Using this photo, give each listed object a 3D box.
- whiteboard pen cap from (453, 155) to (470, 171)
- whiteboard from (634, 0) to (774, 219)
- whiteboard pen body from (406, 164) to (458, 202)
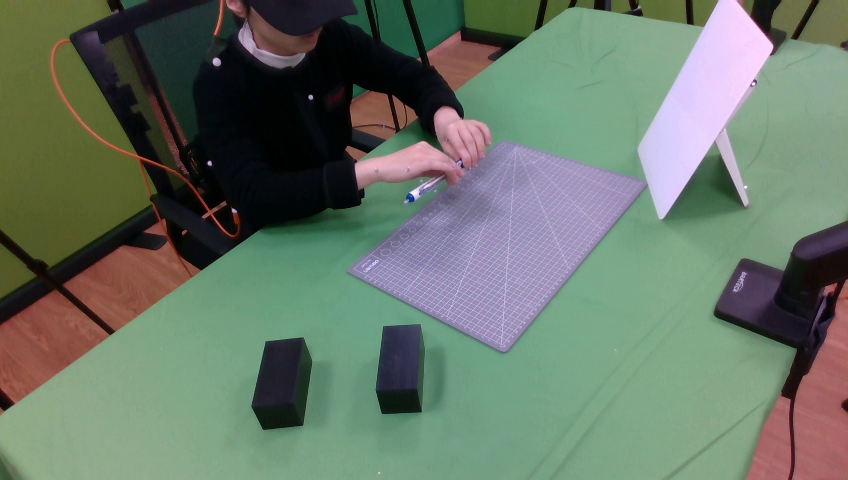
[{"bbox_3d":[0.061,-0.129,1.012,0.018,0.018,0.033,28,52,34],"label":"whiteboard pen cap"},{"bbox_3d":[0.485,-0.192,0.957,0.144,0.305,0.216,14,41,-4],"label":"whiteboard"},{"bbox_3d":[0.022,-0.098,0.981,0.017,0.017,0.141,26,47,33],"label":"whiteboard pen body"}]
